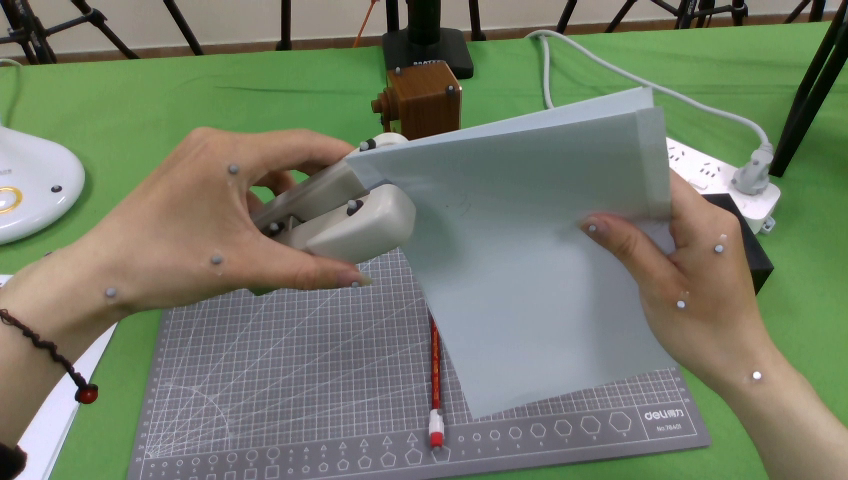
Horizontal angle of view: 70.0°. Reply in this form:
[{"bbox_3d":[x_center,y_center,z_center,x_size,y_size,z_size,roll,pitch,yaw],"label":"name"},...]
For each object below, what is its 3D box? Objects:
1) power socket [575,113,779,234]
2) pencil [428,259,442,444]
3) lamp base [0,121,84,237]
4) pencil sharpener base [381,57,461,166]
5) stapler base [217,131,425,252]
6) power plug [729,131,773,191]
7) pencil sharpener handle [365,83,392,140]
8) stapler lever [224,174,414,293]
[{"bbox_3d":[0.282,-0.080,0.680,0.225,0.033,0.072,33,54,27],"label":"power socket"},{"bbox_3d":[0.008,0.088,0.534,0.012,0.012,0.192,0,46,0],"label":"pencil"},{"bbox_3d":[-0.460,-0.118,0.601,0.161,0.182,0.177,-30,52,-25],"label":"lamp base"},{"bbox_3d":[-0.005,-0.140,0.680,0.077,0.108,0.060,-13,49,-12],"label":"pencil sharpener base"},{"bbox_3d":[-0.060,-0.015,0.348,0.130,0.042,0.024,-27,39,19],"label":"stapler base"},{"bbox_3d":[0.356,-0.076,0.646,0.072,0.053,0.035,-31,55,-25],"label":"power plug"},{"bbox_3d":[-0.052,-0.133,0.655,0.031,0.068,0.035,-13,27,-12],"label":"pencil sharpener handle"},{"bbox_3d":[-0.059,0.002,0.332,0.118,0.027,0.039,-27,39,18],"label":"stapler lever"}]
